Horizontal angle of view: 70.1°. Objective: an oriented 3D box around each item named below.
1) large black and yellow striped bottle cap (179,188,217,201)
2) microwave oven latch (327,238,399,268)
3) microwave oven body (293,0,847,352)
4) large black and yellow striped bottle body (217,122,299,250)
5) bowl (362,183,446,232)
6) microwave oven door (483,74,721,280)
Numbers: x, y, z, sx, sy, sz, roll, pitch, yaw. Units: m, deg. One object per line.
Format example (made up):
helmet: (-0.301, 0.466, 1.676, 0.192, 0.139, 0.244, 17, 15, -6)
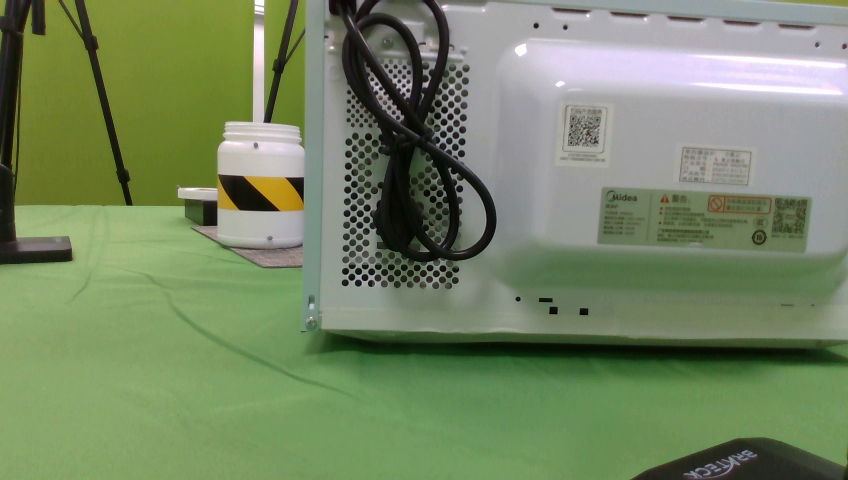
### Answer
large black and yellow striped bottle cap: (-0.434, -0.093, 1.226, 0.115, 0.019, 0.115, 3, 9, 0)
microwave oven latch: (-0.069, 0.015, 0.694, 0.079, 0.029, 0.030, 3, 7, -3)
microwave oven body: (0.122, -0.055, 0.550, 0.442, 0.260, 0.325, 3, 7, -5)
large black and yellow striped bottle body: (-0.250, -0.084, 0.931, 0.131, 0.184, 0.130, 2, 7, 0)
bowl: (-0.037, -0.057, 1.077, 0.151, 0.077, 0.151, 3, 8, 0)
microwave oven door: (0.221, -0.093, 0.842, 0.039, 0.243, 0.354, -3, 9, -38)
